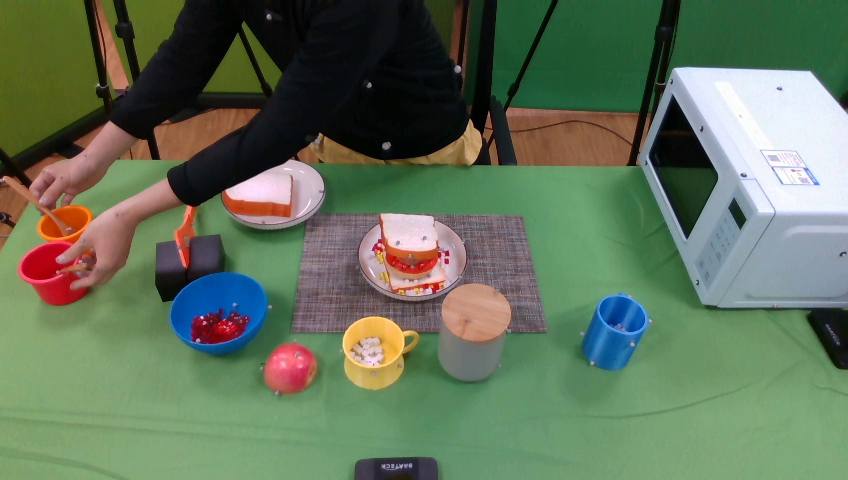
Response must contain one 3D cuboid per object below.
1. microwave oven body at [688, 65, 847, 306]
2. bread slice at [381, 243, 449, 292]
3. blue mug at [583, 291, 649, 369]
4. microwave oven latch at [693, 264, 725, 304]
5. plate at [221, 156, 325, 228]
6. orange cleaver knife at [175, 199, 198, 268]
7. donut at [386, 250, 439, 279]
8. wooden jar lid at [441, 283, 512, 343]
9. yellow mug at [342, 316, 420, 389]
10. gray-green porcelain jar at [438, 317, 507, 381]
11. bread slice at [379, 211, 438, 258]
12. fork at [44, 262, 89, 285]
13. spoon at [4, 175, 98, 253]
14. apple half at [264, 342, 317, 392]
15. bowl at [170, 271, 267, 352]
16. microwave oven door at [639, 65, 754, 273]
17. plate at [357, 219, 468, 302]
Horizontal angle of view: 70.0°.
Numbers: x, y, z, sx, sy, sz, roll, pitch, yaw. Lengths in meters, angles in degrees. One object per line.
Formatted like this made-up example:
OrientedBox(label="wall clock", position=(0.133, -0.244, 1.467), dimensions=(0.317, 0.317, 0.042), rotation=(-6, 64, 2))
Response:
OrientedBox(label="microwave oven body", position=(0.669, -0.111, 1.176), dimensions=(0.326, 0.261, 0.439), rotation=(0, 46, -3))
OrientedBox(label="bread slice", position=(-0.027, 0.039, 1.139), dimensions=(0.107, 0.018, 0.133), rotation=(-12, 47, -16))
OrientedBox(label="blue mug", position=(0.324, 0.142, 1.023), dimensions=(0.082, 0.106, 0.116), rotation=(15, 47, 11))
OrientedBox(label="microwave oven latch", position=(0.522, 0.081, 1.115), dimensions=(0.030, 0.029, 0.078), rotation=(2, 46, -1))
OrientedBox(label="plate", position=(-0.308, -0.095, 1.251), dimensions=(0.209, 0.038, 0.208), rotation=(3, 46, -3))
OrientedBox(label="orange cleaver knife", position=(-0.438, -0.017, 1.138), dimensions=(0.012, 0.077, 0.210), rotation=(-14, 27, -7))
OrientedBox(label="donut", position=(-0.021, 0.029, 1.110), dimensions=(0.099, 0.048, 0.098), rotation=(2, 46, -2))
OrientedBox(label="wooden jar lid", position=(0.080, 0.114, 0.931), dimensions=(0.108, 0.021, 0.107), rotation=(1, 49, -1))
OrientedBox(label="yellow mug", position=(-0.067, 0.178, 0.991), dimensions=(0.131, 0.064, 0.099), rotation=(-16, 49, -19))
OrientedBox(label="gray-green porcelain jar", position=(0.076, 0.158, 0.977), dimensions=(0.106, 0.127, 0.105), rotation=(2, 46, -2))
OrientedBox(label="bread slice", position=(-0.024, -0.012, 1.064), dimensions=(0.105, 0.019, 0.130), rotation=(3, 33, -10))
OrientedBox(label="fork", position=(-0.598, 0.054, 1.014), dimensions=(0.207, 0.019, 0.028), rotation=(-15, 28, 45))
OrientedBox(label="spoon", position=(-0.679, -0.048, 1.104), dimensions=(0.021, 0.194, 0.041), rotation=(-19, 29, 45))
OrientedBox(label="apple half", position=(-0.214, 0.198, 0.970), dimensions=(0.074, 0.053, 0.080), rotation=(19, 48, 11))
OrientedBox(label="bowl", position=(-0.333, 0.132, 1.006), dimensions=(0.151, 0.077, 0.150), rotation=(2, 46, -2))
OrientedBox(label="microwave oven door", position=(0.522, -0.147, 1.193), dimensions=(0.039, 0.245, 0.353), rotation=(0, 47, -3))
OrientedBox(label="plate", position=(-0.021, 0.037, 1.141), dimensions=(0.208, 0.039, 0.206), rotation=(2, 46, -2))
